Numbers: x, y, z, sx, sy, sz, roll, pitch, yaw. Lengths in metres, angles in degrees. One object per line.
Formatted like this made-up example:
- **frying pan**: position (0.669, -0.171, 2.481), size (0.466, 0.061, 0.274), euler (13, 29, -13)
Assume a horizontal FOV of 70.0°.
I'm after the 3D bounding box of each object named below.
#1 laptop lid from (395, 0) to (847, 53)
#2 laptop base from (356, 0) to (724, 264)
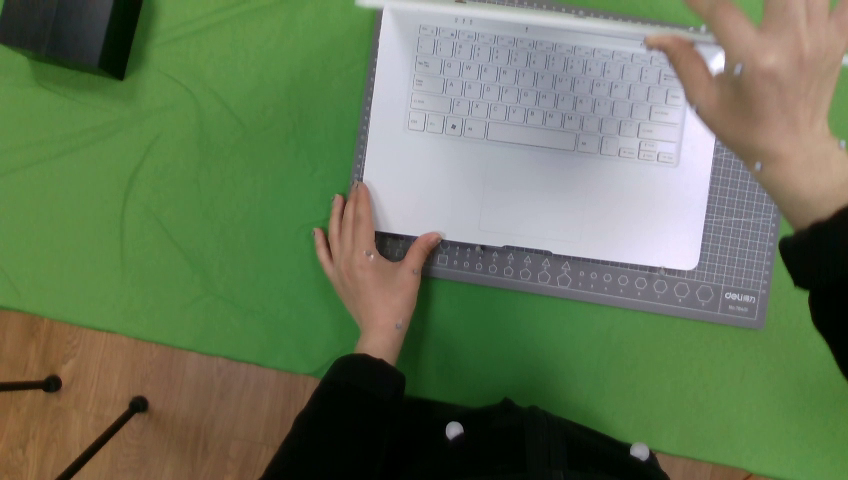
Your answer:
- **laptop lid**: position (0.129, -0.188, 0.506), size (0.357, 0.240, 0.013), euler (7, 111, 0)
- **laptop base**: position (0.118, -0.112, 0.622), size (0.354, 0.023, 0.235), euler (7, 93, -2)
